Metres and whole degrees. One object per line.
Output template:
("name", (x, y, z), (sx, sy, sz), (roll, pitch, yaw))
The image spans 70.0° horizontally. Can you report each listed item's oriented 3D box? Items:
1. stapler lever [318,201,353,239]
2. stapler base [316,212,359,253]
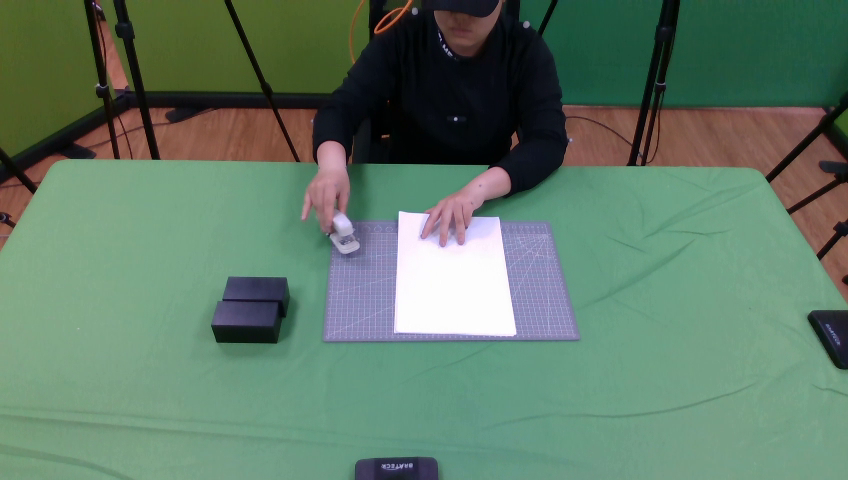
("stapler lever", (-0.171, -0.045, 1.165), (0.027, 0.040, 0.117), (-21, 46, -23))
("stapler base", (-0.169, -0.026, 1.181), (0.041, 0.024, 0.129), (-21, 46, -23))
